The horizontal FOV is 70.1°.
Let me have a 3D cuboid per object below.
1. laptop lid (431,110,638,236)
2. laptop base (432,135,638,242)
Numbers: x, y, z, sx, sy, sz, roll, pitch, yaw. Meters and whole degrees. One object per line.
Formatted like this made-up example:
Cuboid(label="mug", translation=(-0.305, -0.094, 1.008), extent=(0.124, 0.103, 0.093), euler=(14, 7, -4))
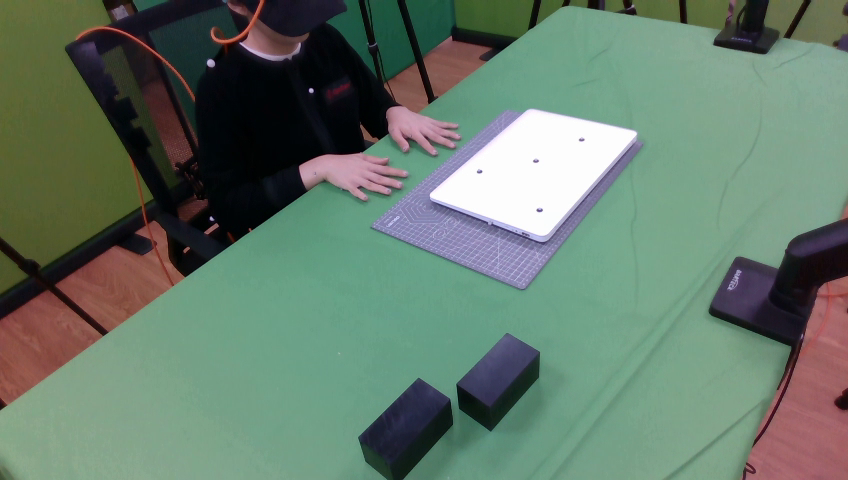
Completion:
Cuboid(label="laptop lid", translation=(0.205, -0.138, 1.092), extent=(0.239, 0.013, 0.358), euler=(23, 49, 34))
Cuboid(label="laptop base", translation=(0.208, -0.129, 1.098), extent=(0.233, 0.023, 0.355), euler=(20, 47, 33))
